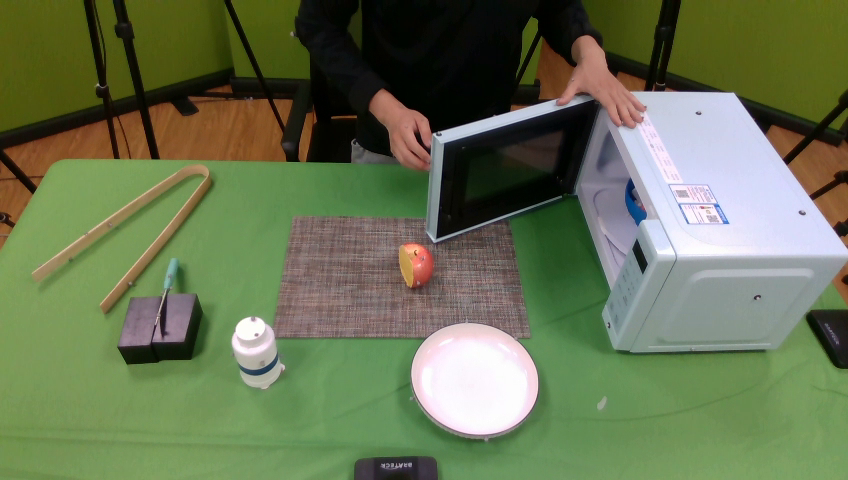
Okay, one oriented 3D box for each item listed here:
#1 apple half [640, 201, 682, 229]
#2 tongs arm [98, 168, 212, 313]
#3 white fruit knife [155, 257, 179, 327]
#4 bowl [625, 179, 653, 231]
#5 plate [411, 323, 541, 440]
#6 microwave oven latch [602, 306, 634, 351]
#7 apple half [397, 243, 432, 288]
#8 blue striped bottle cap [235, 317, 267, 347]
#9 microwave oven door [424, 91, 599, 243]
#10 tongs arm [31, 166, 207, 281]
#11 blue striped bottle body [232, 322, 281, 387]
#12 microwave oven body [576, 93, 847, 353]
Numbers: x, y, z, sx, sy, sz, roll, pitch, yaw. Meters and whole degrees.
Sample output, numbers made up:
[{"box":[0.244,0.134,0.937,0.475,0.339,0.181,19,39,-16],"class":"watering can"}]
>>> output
[{"box":[0.455,-0.055,1.162,0.081,0.033,0.081,-6,36,4],"class":"apple half"},{"box":[-0.504,-0.012,1.167,0.028,0.028,0.385,11,46,11],"class":"tongs arm"},{"box":[-0.440,0.085,1.037,0.016,0.027,0.206,10,26,-19],"class":"white fruit knife"},{"box":[0.453,-0.047,1.171,0.151,0.077,0.150,7,35,-5],"class":"bowl"},{"box":[0.082,0.228,0.976,0.208,0.039,0.206,2,45,-2],"class":"plate"},{"box":[0.332,0.153,1.044,0.030,0.029,0.078,0,45,-4],"class":"microwave oven latch"},{"box":[-0.013,0.047,1.115,0.053,0.075,0.080,-10,43,-21],"class":"apple half"},{"box":[-0.260,0.137,0.907,0.044,0.021,0.044,3,43,-2],"class":"blue striped bottle cap"},{"box":[0.169,-0.143,1.178,0.356,0.245,0.039,-20,50,-22],"class":"microwave oven door"},{"box":[-0.578,-0.040,1.185,0.050,0.026,0.384,23,48,17],"class":"tongs arm"},{"box":[-0.262,0.171,0.944,0.063,0.121,0.062,2,46,-2],"class":"blue striped bottle body"},{"box":[0.475,-0.041,1.110,0.326,0.261,0.438,-1,45,-4],"class":"microwave oven body"}]
